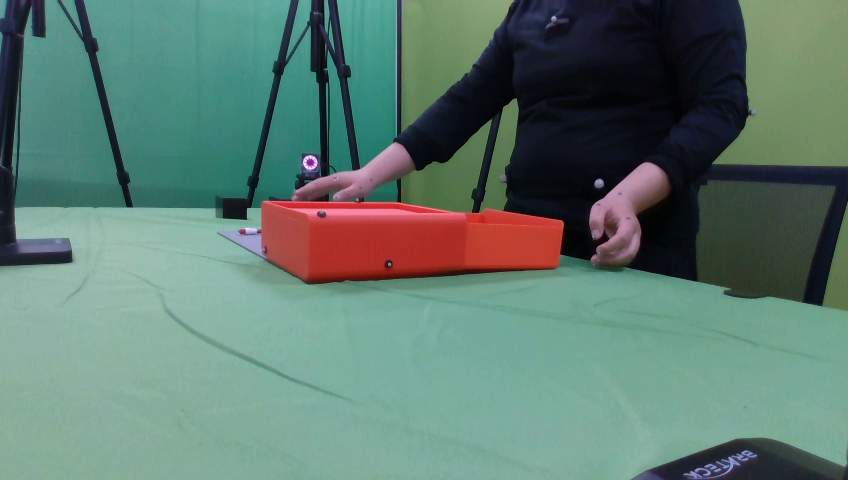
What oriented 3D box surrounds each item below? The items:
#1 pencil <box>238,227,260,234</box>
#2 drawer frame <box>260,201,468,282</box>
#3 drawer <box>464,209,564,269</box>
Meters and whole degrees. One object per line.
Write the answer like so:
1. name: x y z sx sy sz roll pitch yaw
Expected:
1. pencil: -0.240 -0.015 1.104 0.195 0.012 0.012 1 7 -29
2. drawer frame: -0.084 -0.006 0.795 0.215 0.082 0.200 -2 9 -30
3. drawer: 0.058 -0.006 0.880 0.213 0.073 0.193 1 8 -31
